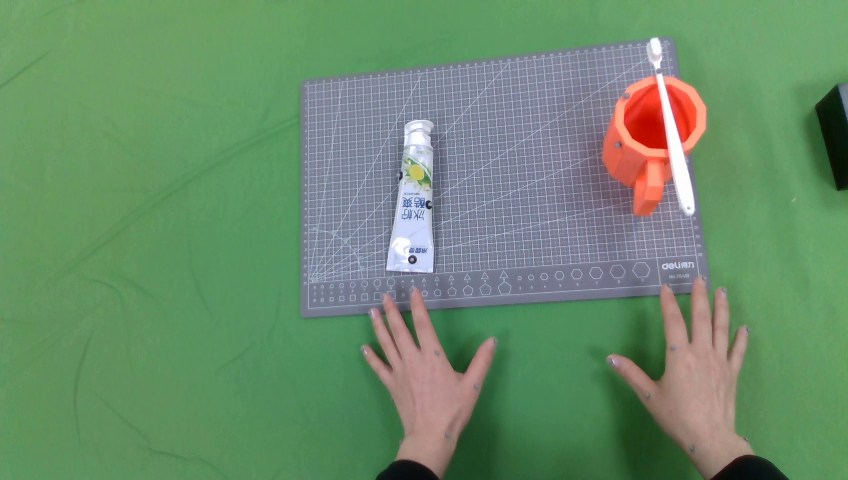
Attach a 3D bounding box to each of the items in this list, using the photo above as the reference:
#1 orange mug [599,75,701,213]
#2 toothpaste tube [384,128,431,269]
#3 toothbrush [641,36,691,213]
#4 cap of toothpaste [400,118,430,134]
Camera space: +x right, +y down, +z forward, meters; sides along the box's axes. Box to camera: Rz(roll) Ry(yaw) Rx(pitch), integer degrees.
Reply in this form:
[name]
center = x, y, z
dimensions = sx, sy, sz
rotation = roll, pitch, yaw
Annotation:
[orange mug]
center = 0.231, -0.095, 0.630
dimensions = 0.083, 0.101, 0.125
rotation = 4, 74, 10
[toothpaste tube]
center = -0.016, -0.049, 0.694
dimensions = 0.055, 0.035, 0.164
rotation = 1, 82, 14
[toothbrush]
center = 0.232, -0.113, 0.580
dimensions = 0.014, 0.017, 0.181
rotation = -7, 77, 3
[cap of toothpaste]
center = -0.010, -0.130, 0.705
dimensions = 0.037, 0.037, 0.011
rotation = -10, 73, 6
